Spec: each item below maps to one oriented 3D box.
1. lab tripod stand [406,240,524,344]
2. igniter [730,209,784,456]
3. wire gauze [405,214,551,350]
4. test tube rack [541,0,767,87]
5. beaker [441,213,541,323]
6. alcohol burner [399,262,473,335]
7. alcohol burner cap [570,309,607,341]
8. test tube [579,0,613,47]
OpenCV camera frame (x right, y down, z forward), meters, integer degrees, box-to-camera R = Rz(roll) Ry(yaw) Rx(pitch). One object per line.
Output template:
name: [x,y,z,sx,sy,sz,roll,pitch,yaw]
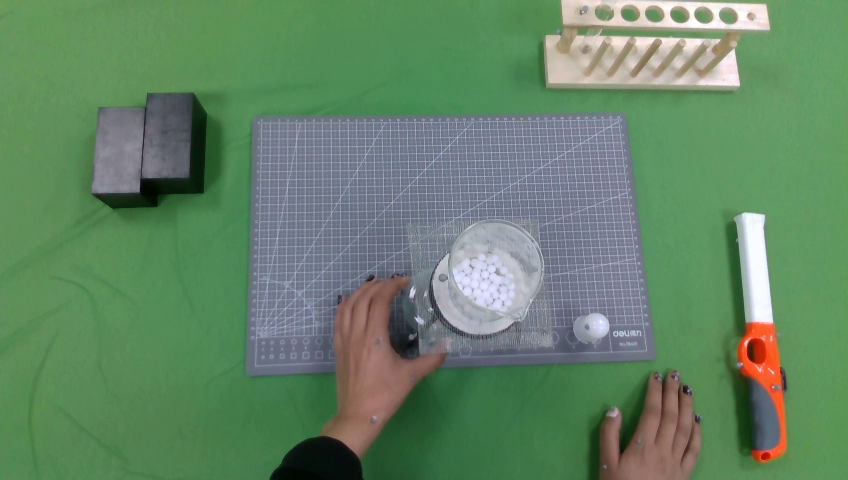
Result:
lab tripod stand: [0.042,0.055,0.615,0.148,0.132,0.147,1,75,-2]
igniter: [0.374,0.099,0.684,0.057,0.025,0.275,5,76,-13]
wire gauze: [0.048,0.037,0.552,0.125,0.011,0.121,-4,75,-2]
test tube rack: [0.271,-0.235,0.727,0.242,0.085,0.066,0,76,-4]
beaker: [0.052,0.032,0.504,0.074,0.100,0.083,-24,78,-8]
alcohol burner: [0.014,0.057,0.623,0.078,0.119,0.077,1,74,-4]
alcohol burner cap: [0.183,0.092,0.663,0.034,0.048,0.033,1,75,-2]
test tube: [0.201,-0.266,0.679,0.017,0.151,0.017,1,72,-3]
